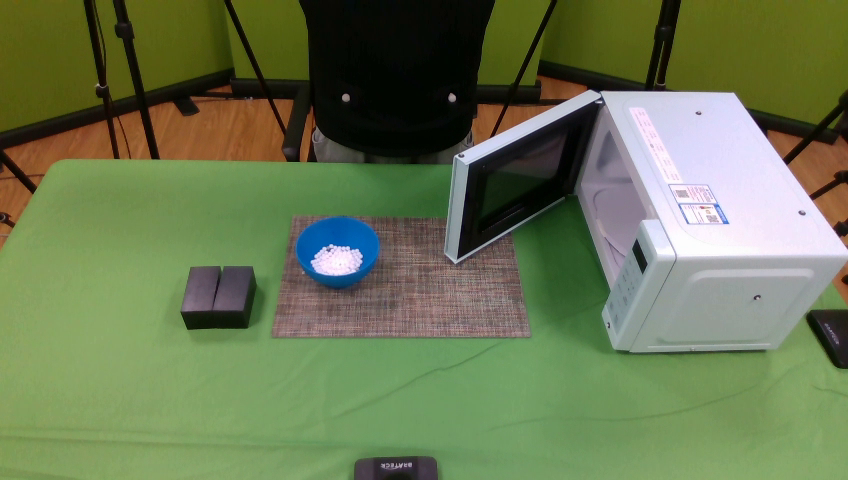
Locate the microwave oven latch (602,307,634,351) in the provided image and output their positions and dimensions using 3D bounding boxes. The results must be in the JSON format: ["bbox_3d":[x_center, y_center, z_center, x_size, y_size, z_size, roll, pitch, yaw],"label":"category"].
[{"bbox_3d":[0.332,0.153,1.044,0.030,0.029,0.078,0,45,-4],"label":"microwave oven latch"}]

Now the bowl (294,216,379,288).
[{"bbox_3d":[-0.158,0.036,1.110,0.151,0.077,0.150,3,45,-2],"label":"bowl"}]

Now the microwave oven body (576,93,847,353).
[{"bbox_3d":[0.475,-0.041,1.109,0.326,0.261,0.438,-1,45,-4],"label":"microwave oven body"}]

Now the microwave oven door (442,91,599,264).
[{"bbox_3d":[0.187,-0.123,1.160,0.356,0.245,0.039,-29,55,-28],"label":"microwave oven door"}]
